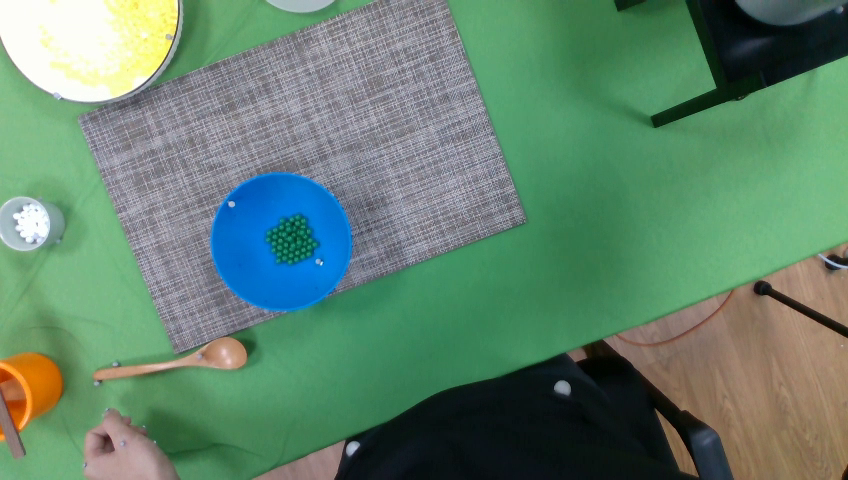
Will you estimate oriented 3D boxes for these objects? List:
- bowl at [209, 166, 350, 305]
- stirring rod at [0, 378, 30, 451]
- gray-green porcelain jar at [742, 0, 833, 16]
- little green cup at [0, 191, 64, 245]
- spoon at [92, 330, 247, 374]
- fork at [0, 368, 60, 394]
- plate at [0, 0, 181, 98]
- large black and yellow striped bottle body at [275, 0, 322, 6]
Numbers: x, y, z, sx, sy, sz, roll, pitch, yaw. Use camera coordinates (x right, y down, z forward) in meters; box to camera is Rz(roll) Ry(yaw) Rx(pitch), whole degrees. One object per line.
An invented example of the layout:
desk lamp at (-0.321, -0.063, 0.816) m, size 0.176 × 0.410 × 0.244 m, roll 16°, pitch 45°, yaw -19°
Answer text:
bowl at (-0.154, -0.007, 0.682) m, size 0.151 × 0.076 × 0.151 m, roll 0°, pitch 95°, yaw 0°
stirring rod at (-0.468, 0.148, 0.657) m, size 0.014 × 0.006 × 0.176 m, roll -20°, pitch 95°, yaw 2°
gray-green porcelain jar at (0.307, -0.239, 0.468) m, size 0.106 × 0.126 × 0.106 m, roll 0°, pitch 94°, yaw 0°
little green cup at (-0.453, -0.026, 0.700) m, size 0.061 × 0.038 × 0.061 m, roll 0°, pitch 95°, yaw 0°
spoon at (-0.305, 0.139, 0.724) m, size 0.194 × 0.021 × 0.042 m, roll -10°, pitch 108°, yaw 0°
fork at (-0.517, 0.170, 0.661) m, size 0.208 × 0.018 × 0.028 m, roll -5°, pitch 98°, yaw -43°
plate at (-0.375, -0.263, 0.682) m, size 0.209 × 0.038 × 0.209 m, roll 0°, pitch 95°, yaw -1°
large black and yellow striped bottle body at (-0.143, -0.327, 0.606) m, size 0.131 × 0.183 × 0.131 m, roll 0°, pitch 94°, yaw 0°
